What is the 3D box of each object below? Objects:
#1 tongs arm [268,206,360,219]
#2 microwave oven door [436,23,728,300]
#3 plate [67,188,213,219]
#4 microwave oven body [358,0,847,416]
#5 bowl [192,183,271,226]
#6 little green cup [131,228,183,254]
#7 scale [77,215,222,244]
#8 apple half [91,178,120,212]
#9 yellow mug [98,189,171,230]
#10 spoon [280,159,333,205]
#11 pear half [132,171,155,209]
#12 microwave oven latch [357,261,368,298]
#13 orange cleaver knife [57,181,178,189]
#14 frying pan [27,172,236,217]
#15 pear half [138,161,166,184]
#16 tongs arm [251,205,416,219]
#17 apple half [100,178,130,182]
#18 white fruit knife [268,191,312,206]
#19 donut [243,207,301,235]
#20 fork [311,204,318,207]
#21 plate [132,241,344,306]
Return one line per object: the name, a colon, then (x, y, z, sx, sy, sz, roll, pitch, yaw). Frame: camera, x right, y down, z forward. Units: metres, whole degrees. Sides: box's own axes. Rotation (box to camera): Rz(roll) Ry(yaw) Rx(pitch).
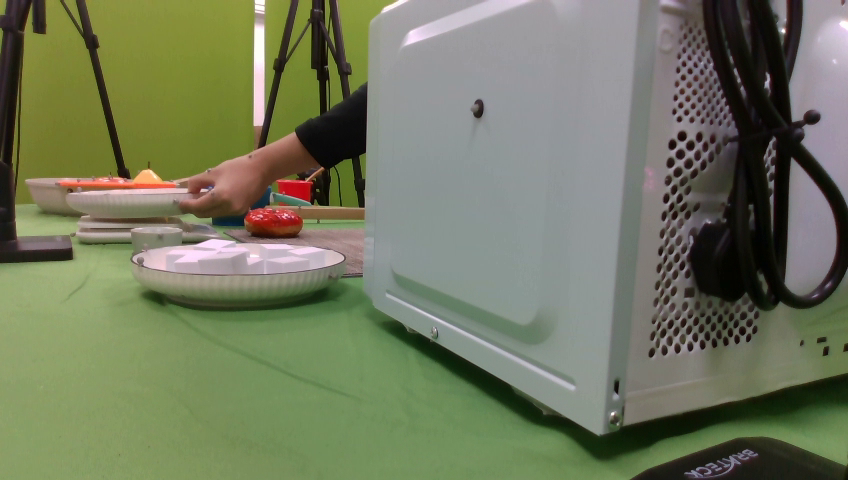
tongs arm: (-0.174, -0.061, 1.362, 0.387, 0.026, 0.050, -1, 3, -31)
microwave oven door: (0.180, -0.073, 0.621, 0.358, 0.243, 0.039, -2, 9, -29)
plate: (-0.443, -0.059, 0.955, 0.209, 0.038, 0.209, -1, 8, 0)
microwave oven body: (0.211, -0.047, 0.474, 0.444, 0.260, 0.324, -1, 7, -28)
bowl: (-0.382, -0.070, 1.202, 0.151, 0.077, 0.151, 3, 7, 0)
little green cup: (-0.342, 0.006, 0.779, 0.061, 0.038, 0.061, 2, 8, 0)
scale: (-0.434, -0.018, 0.963, 0.202, 0.031, 0.148, -1, 8, -27)
apple half: (-0.677, -0.096, 1.271, 0.033, 0.081, 0.081, 7, 8, 10)
yellow mug: (-0.519, -0.055, 1.081, 0.099, 0.064, 0.131, 7, 10, 27)
spoon: (-0.317, -0.159, 1.640, 0.194, 0.022, 0.041, -49, 32, -20)
pear half: (-0.636, -0.113, 1.362, 0.031, 0.088, 0.070, 3, 13, 1)
microwave oven latch: (-0.019, 0.033, 0.530, 0.079, 0.029, 0.030, -1, 7, -26)
orange cleaver knife: (-0.600, -0.109, 1.189, 0.212, 0.012, 0.077, -1, 11, -26)
frying pan: (-0.624, -0.118, 1.387, 0.305, 0.102, 0.490, 8, 17, 32)
pear half: (-0.602, -0.120, 1.354, 0.056, 0.110, 0.076, 4, 11, 5)
tongs arm: (-0.211, -0.067, 1.440, 0.389, 0.027, 0.028, 0, -1, -17)
apple half: (-0.638, -0.093, 1.266, 0.053, 0.074, 0.081, 7, 5, 10)
white fruit knife: (-0.364, -0.105, 1.464, 0.208, 0.027, 0.016, 15, 0, -34)
donut: (-0.261, -0.032, 1.043, 0.099, 0.048, 0.099, 4, 8, 0)
fork: (-0.356, -0.105, 1.526, 0.208, 0.018, 0.028, 16, -6, -41)
plate: (-0.187, 0.033, 0.625, 0.208, 0.039, 0.207, 2, 7, 0)
